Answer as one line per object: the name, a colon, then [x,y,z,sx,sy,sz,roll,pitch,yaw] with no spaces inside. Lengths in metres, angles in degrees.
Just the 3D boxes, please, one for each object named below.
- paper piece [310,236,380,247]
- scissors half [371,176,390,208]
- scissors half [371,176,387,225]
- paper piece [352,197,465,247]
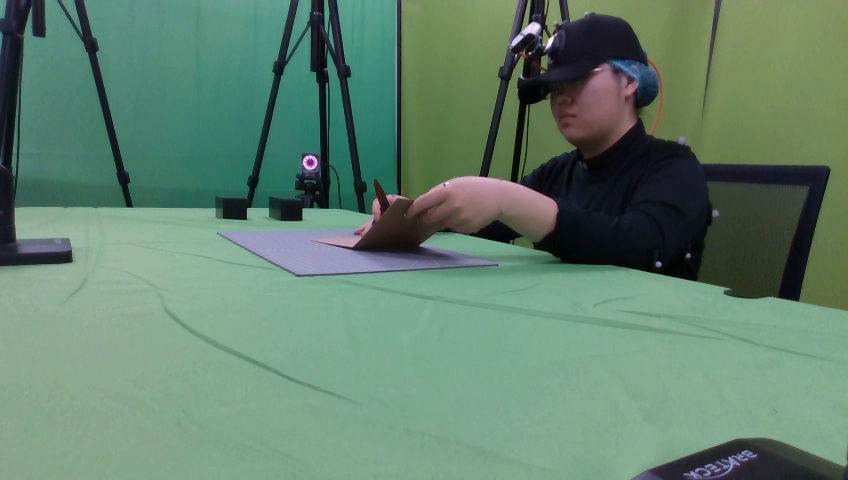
paper piece: [-0.105,0.001,1.026,0.136,0.004,0.134,-2,8,-41]
scissors half: [-0.060,-0.062,1.074,0.040,0.013,0.176,-25,-34,5]
scissors half: [-0.080,-0.057,1.074,0.040,0.012,0.175,-12,-35,-5]
paper piece: [-0.024,-0.024,0.933,0.137,0.008,0.138,-3,-30,-41]
